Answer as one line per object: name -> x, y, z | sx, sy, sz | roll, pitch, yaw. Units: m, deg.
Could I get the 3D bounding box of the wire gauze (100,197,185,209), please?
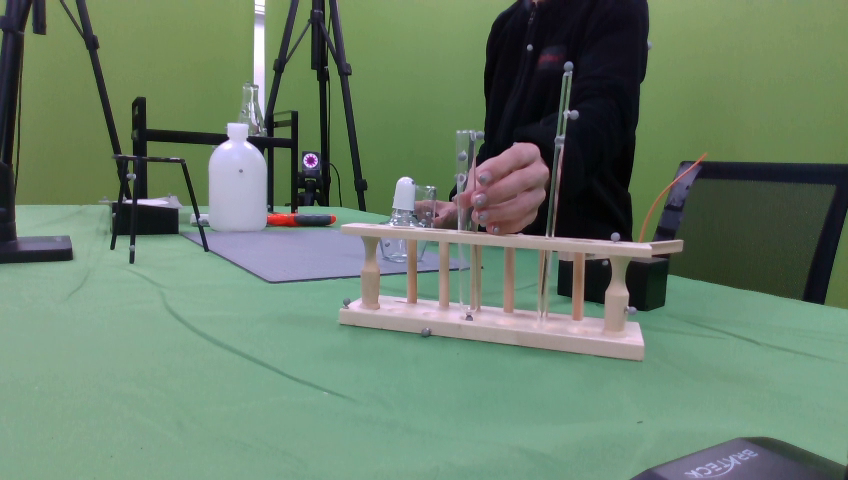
wire gauze -> -0.469, -0.062, 1.008 | 0.126, 0.011, 0.121 | -2, 8, -25

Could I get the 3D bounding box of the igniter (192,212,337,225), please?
igniter -> -0.312, -0.043, 1.203 | 0.278, 0.025, 0.057 | -1, -5, -25

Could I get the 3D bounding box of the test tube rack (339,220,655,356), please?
test tube rack -> 0.056, 0.032, 0.495 | 0.242, 0.085, 0.067 | 4, 7, 15

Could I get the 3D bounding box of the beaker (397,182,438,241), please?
beaker -> -0.011, -0.051, 1.077 | 0.074, 0.100, 0.083 | -2, 9, -27

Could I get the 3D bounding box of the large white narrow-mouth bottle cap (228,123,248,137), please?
large white narrow-mouth bottle cap -> -0.338, -0.199, 1.097 | 0.038, 0.024, 0.037 | 2, 8, 0

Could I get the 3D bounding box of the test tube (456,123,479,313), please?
test tube -> 0.034, -0.016, 0.475 | 0.017, 0.150, 0.017 | -2, 10, 1

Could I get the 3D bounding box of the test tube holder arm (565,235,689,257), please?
test tube holder arm -> 0.216, 0.006, 0.629 | 0.179, 0.015, 0.013 | -3, 11, -30

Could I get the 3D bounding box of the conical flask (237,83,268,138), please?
conical flask -> -0.402, -0.299, 1.406 | 0.075, 0.122, 0.075 | 2, 7, 0

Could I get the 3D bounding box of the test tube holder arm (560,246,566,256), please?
test tube holder arm -> 0.173, 0.007, 0.611 | 0.088, 0.015, 0.010 | -3, 11, -29

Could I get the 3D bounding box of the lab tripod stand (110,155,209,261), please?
lab tripod stand -> -0.362, -0.046, 0.806 | 0.148, 0.131, 0.148 | 2, 5, 0

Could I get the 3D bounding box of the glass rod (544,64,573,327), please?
glass rod -> 0.101, -0.028, 0.453 | 0.008, 0.199, 0.008 | 1, 14, 0

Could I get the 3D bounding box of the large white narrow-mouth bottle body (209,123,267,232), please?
large white narrow-mouth bottle body -> -0.340, -0.115, 1.109 | 0.102, 0.194, 0.102 | 2, 8, 0

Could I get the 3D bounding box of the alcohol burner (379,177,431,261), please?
alcohol burner -> -0.027, -0.031, 0.838 | 0.078, 0.119, 0.078 | 0, 6, 0

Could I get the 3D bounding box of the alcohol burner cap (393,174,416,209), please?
alcohol burner cap -> -0.025, -0.067, 0.834 | 0.034, 0.048, 0.034 | 8, 8, -1
